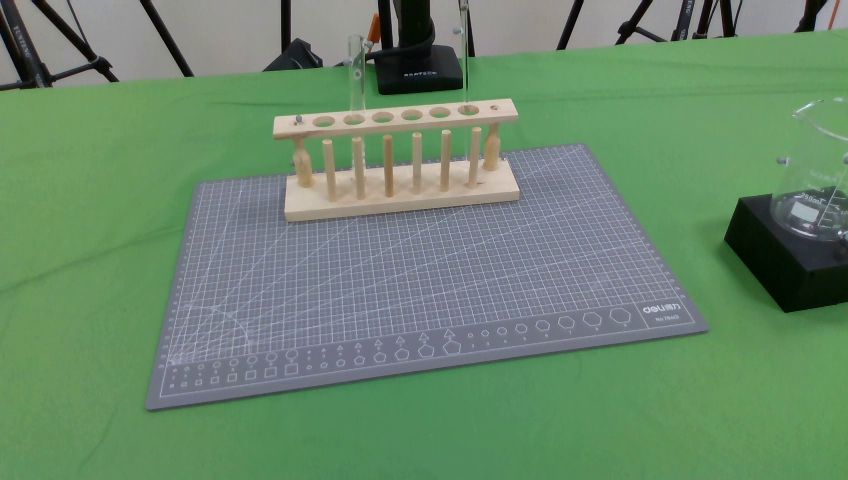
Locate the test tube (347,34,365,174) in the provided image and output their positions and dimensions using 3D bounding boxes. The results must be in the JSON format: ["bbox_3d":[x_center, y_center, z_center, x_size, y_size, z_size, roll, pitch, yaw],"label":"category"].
[{"bbox_3d":[-0.067,-0.129,0.599,0.017,0.151,0.017,3,41,-2],"label":"test tube"}]

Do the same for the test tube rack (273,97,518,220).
[{"bbox_3d":[-0.026,-0.085,0.623,0.243,0.086,0.066,-6,42,-5],"label":"test tube rack"}]

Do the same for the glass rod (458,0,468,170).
[{"bbox_3d":[0.039,-0.161,0.607,0.008,0.201,0.008,-2,35,2],"label":"glass rod"}]

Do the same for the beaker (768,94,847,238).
[{"bbox_3d":[0.334,-0.059,0.501,0.083,0.101,0.074,22,47,27],"label":"beaker"}]
